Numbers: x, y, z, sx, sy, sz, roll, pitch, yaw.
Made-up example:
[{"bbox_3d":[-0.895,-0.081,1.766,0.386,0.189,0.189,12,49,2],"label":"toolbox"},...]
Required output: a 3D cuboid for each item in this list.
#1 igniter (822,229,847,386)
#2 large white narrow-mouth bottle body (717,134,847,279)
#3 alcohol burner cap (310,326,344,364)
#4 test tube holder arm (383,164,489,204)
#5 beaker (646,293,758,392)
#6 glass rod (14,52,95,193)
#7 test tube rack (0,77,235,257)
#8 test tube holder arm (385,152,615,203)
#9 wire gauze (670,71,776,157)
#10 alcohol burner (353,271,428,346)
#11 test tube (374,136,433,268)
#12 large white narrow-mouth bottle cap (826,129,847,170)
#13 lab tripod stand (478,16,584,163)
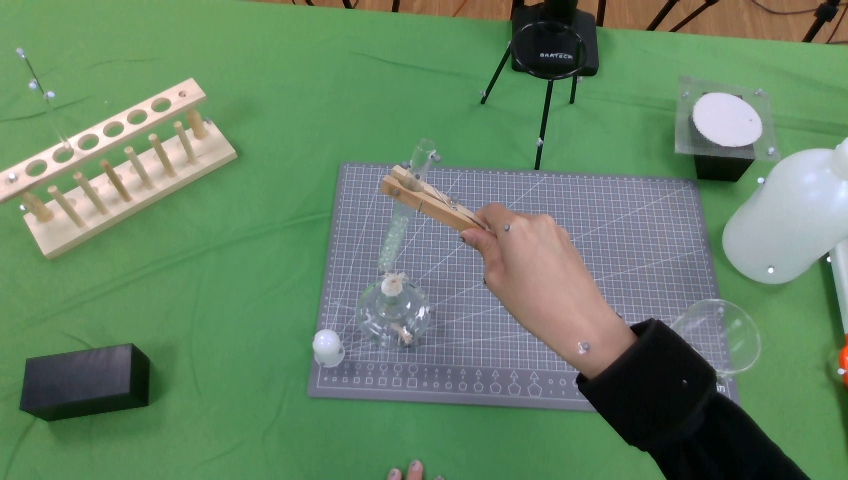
[{"bbox_3d":[0.469,0.107,0.657,0.057,0.025,0.274,12,61,-6],"label":"igniter"},{"bbox_3d":[0.397,-0.041,0.640,0.102,0.196,0.101,1,61,-1],"label":"large white narrow-mouth bottle body"},{"bbox_3d":[-0.102,0.107,0.628,0.034,0.048,0.033,0,63,1],"label":"alcohol burner cap"},{"bbox_3d":[0.011,-0.043,0.477,0.088,0.010,0.015,10,61,-13],"label":"test tube holder arm"},{"bbox_3d":[0.270,0.106,0.607,0.084,0.101,0.073,8,61,4],"label":"beaker"},{"bbox_3d":[-0.385,-0.113,0.640,0.008,0.201,0.008,3,53,-4],"label":"glass rod"},{"bbox_3d":[-0.353,-0.086,0.702,0.242,0.086,0.066,-34,68,-18],"label":"test tube rack"},{"bbox_3d":[0.055,-0.047,0.468,0.178,0.013,0.015,-8,57,16],"label":"test tube holder arm"},{"bbox_3d":[0.367,-0.155,0.750,0.121,0.011,0.124,10,61,4],"label":"wire gauze"},{"bbox_3d":[-0.033,0.063,0.613,0.078,0.120,0.077,2,60,-3],"label":"alcohol burner"},{"bbox_3d":[-0.020,-0.025,0.497,0.017,0.151,0.017,10,48,-11],"label":"test tube"},{"bbox_3d":[0.399,-0.084,0.565,0.038,0.024,0.037,1,61,-1],"label":"large white narrow-mouth bottle cap"},{"bbox_3d":[0.139,-0.190,0.747,0.148,0.132,0.147,2,63,-3],"label":"lab tripod stand"}]
